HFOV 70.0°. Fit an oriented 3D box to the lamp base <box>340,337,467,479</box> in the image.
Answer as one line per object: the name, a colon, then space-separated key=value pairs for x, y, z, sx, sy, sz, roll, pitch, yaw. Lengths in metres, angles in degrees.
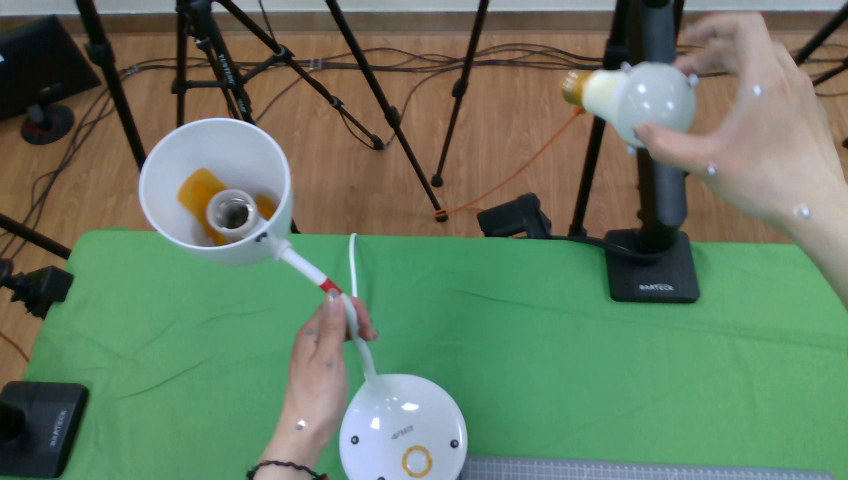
lamp base: x=-0.038 y=0.193 z=0.701 sx=0.160 sy=0.182 sz=0.177 roll=-35 pitch=62 yaw=-16

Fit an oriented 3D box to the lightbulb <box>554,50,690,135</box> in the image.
lightbulb: x=0.144 y=-0.114 z=0.452 sx=0.106 sy=0.060 sz=0.059 roll=28 pitch=64 yaw=38

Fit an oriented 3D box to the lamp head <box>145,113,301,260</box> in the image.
lamp head: x=-0.156 y=-0.028 z=0.514 sx=0.112 sy=0.124 sz=0.111 roll=0 pitch=68 yaw=1
